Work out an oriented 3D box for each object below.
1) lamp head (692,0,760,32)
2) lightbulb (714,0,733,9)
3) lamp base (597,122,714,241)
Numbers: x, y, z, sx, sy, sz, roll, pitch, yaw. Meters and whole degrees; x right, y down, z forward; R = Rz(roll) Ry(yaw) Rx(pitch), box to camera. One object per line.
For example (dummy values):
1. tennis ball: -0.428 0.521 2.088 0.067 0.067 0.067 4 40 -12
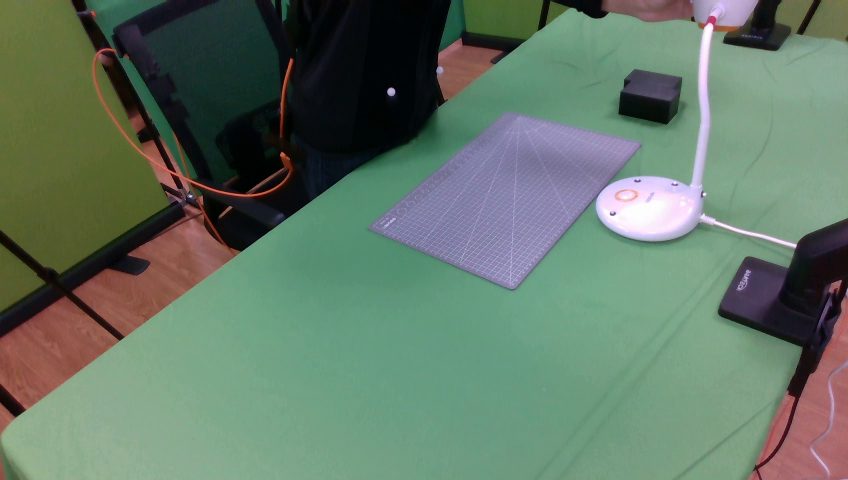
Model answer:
1. lamp head: 0.436 -0.362 0.869 0.112 0.123 0.112 1 28 0
2. lightbulb: 0.433 -0.387 0.862 0.059 0.108 0.059 -6 31 4
3. lamp base: 0.363 -0.110 0.921 0.178 0.181 0.160 13 45 21
